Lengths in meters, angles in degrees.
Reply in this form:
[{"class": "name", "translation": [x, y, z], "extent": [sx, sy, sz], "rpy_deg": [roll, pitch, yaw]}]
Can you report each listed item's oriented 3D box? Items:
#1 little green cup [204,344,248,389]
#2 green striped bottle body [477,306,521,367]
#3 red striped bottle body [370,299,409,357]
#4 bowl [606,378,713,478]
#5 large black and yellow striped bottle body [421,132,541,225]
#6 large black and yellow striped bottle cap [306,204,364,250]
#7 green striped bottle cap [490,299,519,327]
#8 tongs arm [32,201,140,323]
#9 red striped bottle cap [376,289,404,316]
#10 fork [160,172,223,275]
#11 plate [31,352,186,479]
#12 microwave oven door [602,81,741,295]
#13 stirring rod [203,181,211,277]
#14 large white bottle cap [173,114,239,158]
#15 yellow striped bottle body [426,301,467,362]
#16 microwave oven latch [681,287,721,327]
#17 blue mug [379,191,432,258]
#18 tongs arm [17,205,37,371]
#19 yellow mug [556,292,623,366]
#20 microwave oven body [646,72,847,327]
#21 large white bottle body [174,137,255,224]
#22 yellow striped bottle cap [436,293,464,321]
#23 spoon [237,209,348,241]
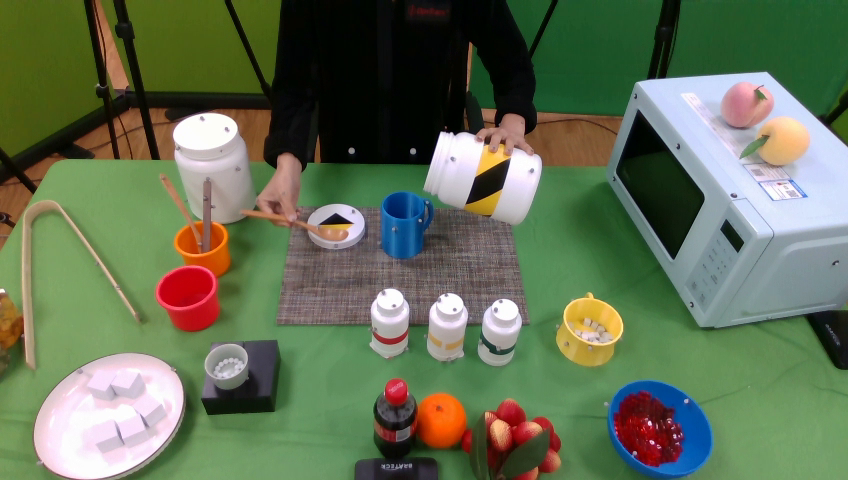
[{"class": "little green cup", "translation": [-0.294, 0.191, 0.909], "extent": [0.061, 0.039, 0.061], "rpy_deg": [1, 48, -1]}, {"class": "green striped bottle body", "translation": [0.124, 0.151, 0.995], "extent": [0.063, 0.120, 0.063], "rpy_deg": [2, 46, -2]}, {"class": "red striped bottle body", "translation": [-0.057, 0.135, 0.996], "extent": [0.063, 0.120, 0.062], "rpy_deg": [2, 47, -2]}, {"class": "bowl", "translation": [0.340, 0.292, 0.906], "extent": [0.151, 0.077, 0.150], "rpy_deg": [2, 46, -2]}, {"class": "large black and yellow striped bottle body", "translation": [0.097, -0.112, 1.060], "extent": [0.184, 0.131, 0.130], "rpy_deg": [17, 46, -2]}, {"class": "large black and yellow striped bottle cap", "translation": [-0.178, -0.028, 1.210], "extent": [0.115, 0.019, 0.114], "rpy_deg": [2, 47, -2]}, {"class": "green striped bottle cap", "translation": [0.127, 0.115, 0.958], "extent": [0.044, 0.020, 0.044], "rpy_deg": [2, 48, -2]}, {"class": "tongs arm", "translation": [-0.623, 0.035, 1.105], "extent": [0.051, 0.026, 0.382], "rpy_deg": [-33, 56, -25]}, {"class": "red striped bottle cap", "translation": [-0.055, 0.098, 0.958], "extent": [0.044, 0.018, 0.044], "rpy_deg": [0, 48, 0]}, {"class": "fork", "translation": [-0.426, -0.030, 1.103], "extent": [0.028, 0.018, 0.207], "rpy_deg": [-29, 99, -19]}, {"class": "plate", "translation": [-0.459, 0.262, 0.898], "extent": [0.209, 0.038, 0.208], "rpy_deg": [2, 46, -2]}, {"class": "microwave oven door", "translation": [0.456, -0.107, 1.162], "extent": [0.039, 0.245, 0.353], "rpy_deg": [-7, 47, -10]}, {"class": "stirring rod", "translation": [-0.396, -0.021, 1.107], "extent": [0.014, 0.006, 0.176], "rpy_deg": [-1, 89, -1]}, {"class": "large white bottle cap", "translation": [-0.403, -0.195, 1.122], "extent": [0.115, 0.018, 0.114], "rpy_deg": [2, 47, -2]}, {"class": "yellow striped bottle body", "translation": [0.037, 0.142, 0.996], "extent": [0.063, 0.121, 0.062], "rpy_deg": [2, 46, -2]}, {"class": "microwave oven latch", "translation": [0.494, 0.119, 1.087], "extent": [0.030, 0.029, 0.078], "rpy_deg": [-6, 46, -9]}, {"class": "blue mug", "translation": [-0.031, -0.036, 1.167], "extent": [0.116, 0.106, 0.082], "rpy_deg": [-27, 54, -27]}, {"class": "tongs arm", "translation": [-0.698, 0.072, 1.069], "extent": [0.028, 0.028, 0.385], "rpy_deg": [-21, 51, -13]}, {"class": "yellow mug", "translation": [0.285, 0.145, 1.051], "extent": [0.100, 0.064, 0.130], "rpy_deg": [7, 45, 3]}, {"class": "microwave oven body", "translation": [0.607, -0.089, 1.164], "extent": [0.326, 0.261, 0.438], "rpy_deg": [-7, 46, -10]}, {"class": "large white bottle body", "translation": [-0.409, -0.136, 1.183], "extent": [0.131, 0.185, 0.130], "rpy_deg": [2, 46, -2]}, {"class": "yellow striped bottle cap", "translation": [0.041, 0.106, 0.959], "extent": [0.044, 0.019, 0.044], "rpy_deg": [-1, 50, 1]}, {"class": "spoon", "translation": [-0.230, -0.031, 1.071], "extent": [0.194, 0.022, 0.041], "rpy_deg": [17, 30, -18]}]
